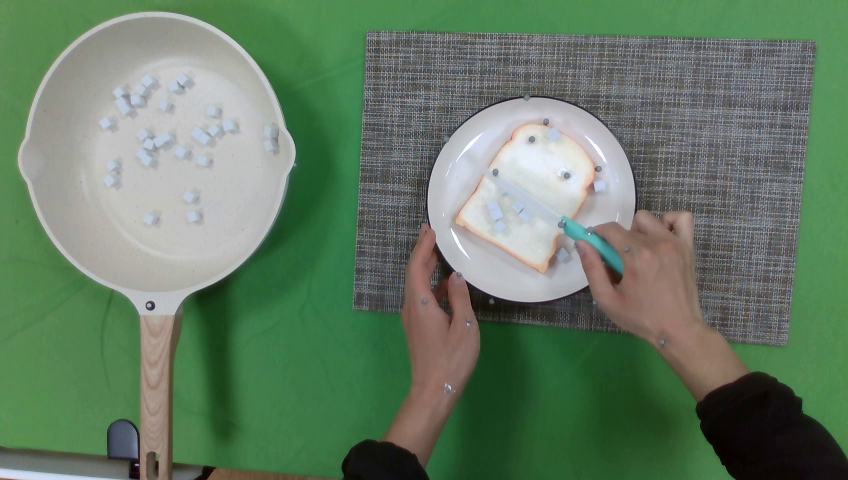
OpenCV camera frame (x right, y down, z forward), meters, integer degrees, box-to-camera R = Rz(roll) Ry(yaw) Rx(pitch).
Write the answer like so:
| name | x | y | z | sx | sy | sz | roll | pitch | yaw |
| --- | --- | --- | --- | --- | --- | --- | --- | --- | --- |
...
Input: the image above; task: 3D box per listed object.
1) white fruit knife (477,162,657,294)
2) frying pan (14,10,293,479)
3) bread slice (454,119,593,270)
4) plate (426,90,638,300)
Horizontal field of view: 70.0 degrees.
| name | x | y | z | sx | sy | sz | roll | pitch | yaw |
| --- | --- | --- | --- | --- | --- | --- | --- | --- | --- |
| white fruit knife | 0.134 | -0.016 | 0.578 | 0.206 | 0.027 | 0.016 | 36 | 61 | 11 |
| frying pan | -0.279 | 0.014 | 0.642 | 0.306 | 0.103 | 0.486 | 0 | 85 | 8 |
| bread slice | 0.105 | -0.053 | 0.618 | 0.107 | 0.018 | 0.134 | 27 | 98 | 5 |
| plate | 0.107 | -0.044 | 0.617 | 0.207 | 0.039 | 0.207 | 0 | 93 | 8 |
